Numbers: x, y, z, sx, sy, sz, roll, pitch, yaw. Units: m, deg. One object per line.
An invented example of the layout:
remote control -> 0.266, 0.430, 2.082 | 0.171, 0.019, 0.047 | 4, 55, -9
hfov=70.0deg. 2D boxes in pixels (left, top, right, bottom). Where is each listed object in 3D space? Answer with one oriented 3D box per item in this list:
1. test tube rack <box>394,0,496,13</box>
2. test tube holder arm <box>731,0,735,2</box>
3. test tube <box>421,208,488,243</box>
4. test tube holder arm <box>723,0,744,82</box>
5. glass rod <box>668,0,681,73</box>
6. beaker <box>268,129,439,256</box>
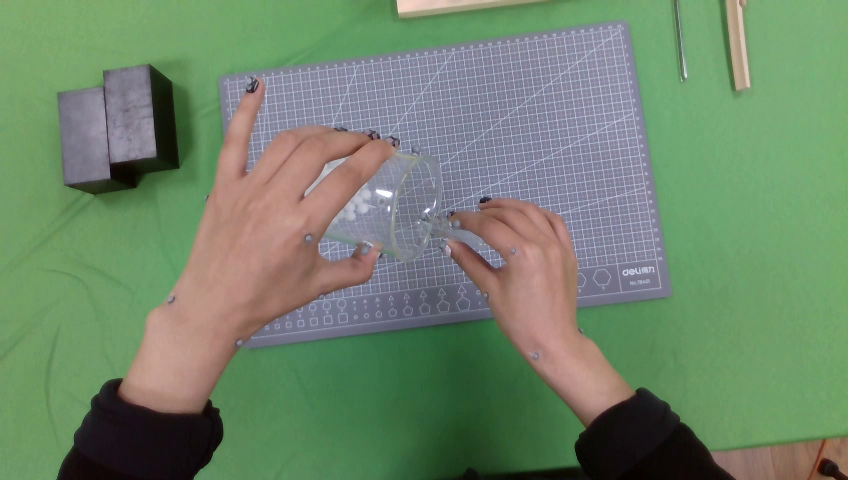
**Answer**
test tube rack -> 0.083, -0.301, 0.626 | 0.242, 0.085, 0.066 | -6, 84, 2
test tube holder arm -> 0.329, -0.300, 0.648 | 0.010, 0.015, 0.087 | 2, 84, -26
test tube -> 0.030, -0.010, 0.513 | 0.017, 0.151, 0.017 | -2, 85, 20
test tube holder arm -> 0.325, -0.255, 0.641 | 0.013, 0.015, 0.178 | 2, 84, -26
glass rod -> 0.266, -0.277, 0.654 | 0.008, 0.008, 0.199 | -3, 85, 2
beaker -> -0.048, -0.035, 0.424 | 0.100, 0.084, 0.074 | 14, 81, 21
